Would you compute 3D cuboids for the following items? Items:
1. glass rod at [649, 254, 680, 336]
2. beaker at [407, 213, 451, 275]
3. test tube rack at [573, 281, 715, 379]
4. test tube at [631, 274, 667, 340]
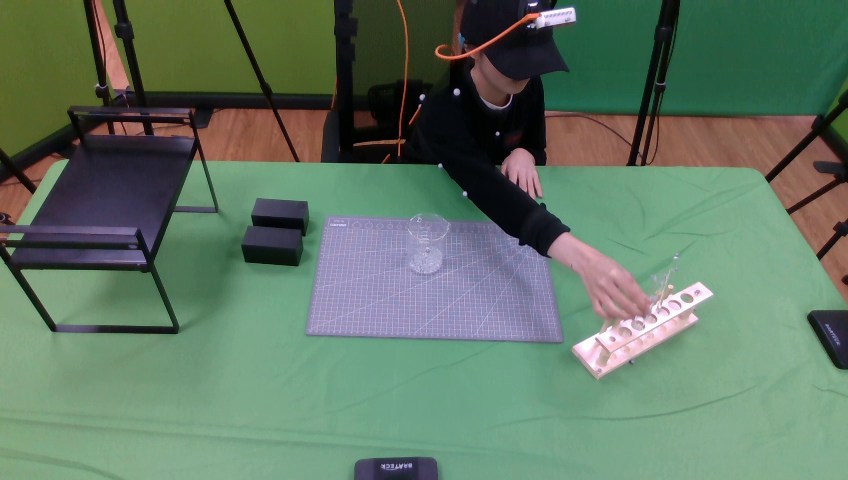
[{"bbox_3d":[0.392,0.094,0.991,0.008,0.201,0.008,-2,44,2],"label":"glass rod"},{"bbox_3d":[0.008,0.009,1.129,0.084,0.101,0.073,-11,48,-15],"label":"beaker"},{"bbox_3d":[0.378,0.140,1.038,0.242,0.085,0.066,-22,51,-23],"label":"test tube rack"},{"bbox_3d":[0.351,0.109,0.951,0.017,0.151,0.017,1,44,-1],"label":"test tube"}]
